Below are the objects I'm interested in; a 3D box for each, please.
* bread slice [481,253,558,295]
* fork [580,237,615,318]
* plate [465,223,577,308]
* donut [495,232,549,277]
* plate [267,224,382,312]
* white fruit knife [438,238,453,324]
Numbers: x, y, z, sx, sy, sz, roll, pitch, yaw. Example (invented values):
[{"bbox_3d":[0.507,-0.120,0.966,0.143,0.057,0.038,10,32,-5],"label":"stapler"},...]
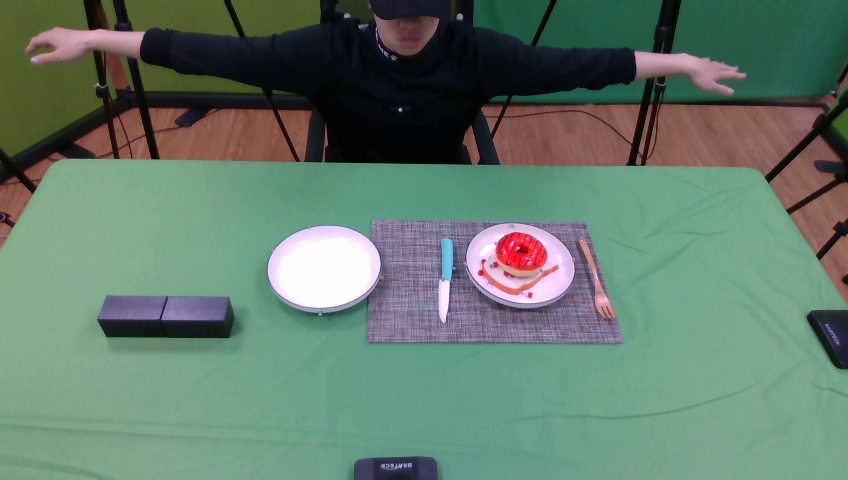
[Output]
[{"bbox_3d":[0.177,0.050,1.148,0.131,0.019,0.104,-32,55,-31],"label":"bread slice"},{"bbox_3d":[0.325,0.067,1.150,0.028,0.019,0.206,-6,48,1],"label":"fork"},{"bbox_3d":[0.180,0.051,1.144,0.209,0.038,0.208,2,45,-2],"label":"plate"},{"bbox_3d":[0.180,0.026,1.119,0.099,0.048,0.098,2,46,-2],"label":"donut"},{"bbox_3d":[-0.182,0.055,1.120,0.208,0.039,0.206,2,46,-2],"label":"plate"},{"bbox_3d":[0.039,0.073,1.130,0.027,0.016,0.206,-17,44,21],"label":"white fruit knife"}]
